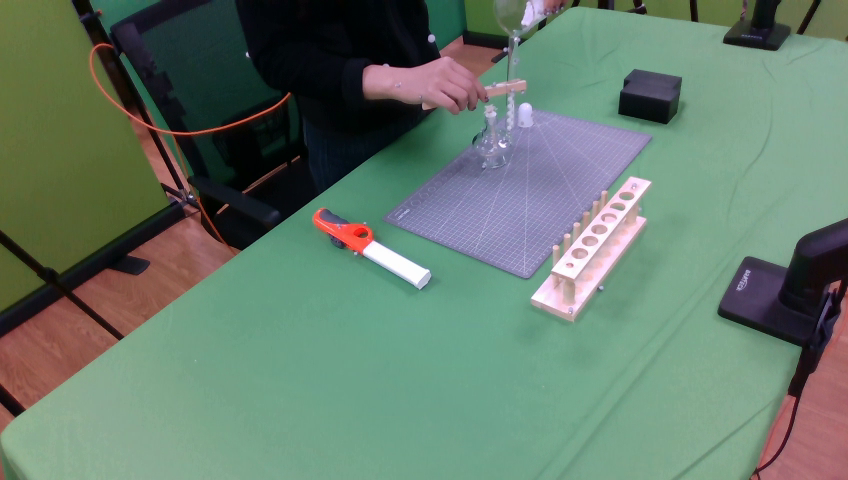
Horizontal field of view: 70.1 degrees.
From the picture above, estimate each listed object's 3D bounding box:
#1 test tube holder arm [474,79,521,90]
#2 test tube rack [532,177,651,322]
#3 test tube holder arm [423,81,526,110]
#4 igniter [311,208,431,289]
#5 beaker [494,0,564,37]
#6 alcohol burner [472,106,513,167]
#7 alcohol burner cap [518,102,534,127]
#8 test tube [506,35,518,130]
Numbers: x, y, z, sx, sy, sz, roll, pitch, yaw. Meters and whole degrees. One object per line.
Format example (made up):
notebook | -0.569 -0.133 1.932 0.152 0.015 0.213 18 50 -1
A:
test tube holder arm | 0.119 -0.243 0.972 0.088 0.015 0.010 -19 26 -25
test tube rack | 0.248 0.003 0.883 0.066 0.085 0.243 22 49 32
test tube holder arm | 0.081 -0.229 0.951 0.179 0.015 0.013 -16 25 -19
igniter | -0.096 0.008 0.986 0.274 0.025 0.057 28 62 36
beaker | 0.167 -0.370 0.940 0.073 0.084 0.100 30 53 26
alcohol burner | 0.125 -0.194 1.111 0.078 0.119 0.077 -5 42 5
alcohol burner cap | 0.205 -0.255 1.223 0.034 0.048 0.033 -6 40 6
test tube | 0.142 -0.251 0.976 0.017 0.150 0.017 -1 26 1
